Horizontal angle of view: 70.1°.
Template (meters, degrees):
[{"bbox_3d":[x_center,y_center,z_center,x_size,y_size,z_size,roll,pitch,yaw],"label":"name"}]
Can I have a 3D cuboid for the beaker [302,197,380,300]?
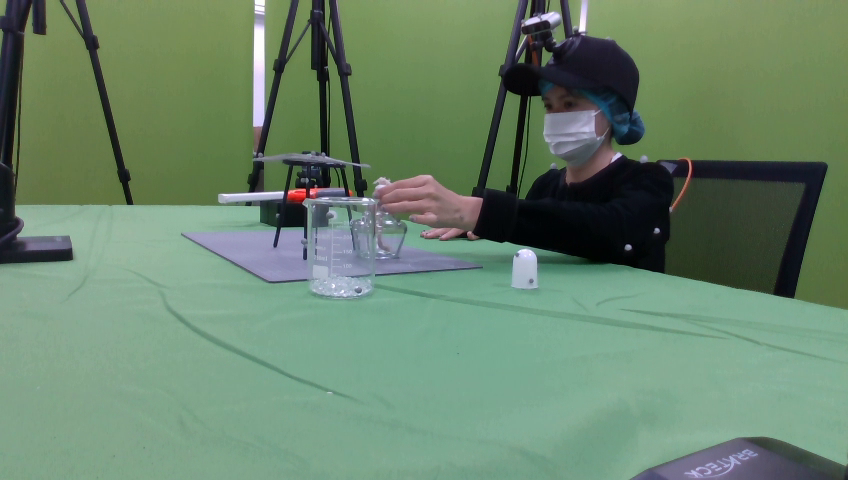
[{"bbox_3d":[-0.089,0.007,0.625,0.084,0.100,0.074,4,7,16],"label":"beaker"}]

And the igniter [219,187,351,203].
[{"bbox_3d":[-0.280,-0.092,1.254,0.278,0.025,0.057,-6,11,-34],"label":"igniter"}]

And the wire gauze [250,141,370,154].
[{"bbox_3d":[-0.163,-0.131,0.867,0.124,0.011,0.122,-1,8,32],"label":"wire gauze"}]

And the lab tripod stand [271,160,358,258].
[{"bbox_3d":[-0.160,-0.048,0.876,0.148,0.131,0.148,3,5,0],"label":"lab tripod stand"}]

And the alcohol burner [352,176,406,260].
[{"bbox_3d":[-0.064,-0.032,0.863,0.078,0.119,0.078,1,6,0],"label":"alcohol burner"}]

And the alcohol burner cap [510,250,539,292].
[{"bbox_3d":[0.118,0.036,0.704,0.034,0.048,0.034,0,7,0],"label":"alcohol burner cap"}]
